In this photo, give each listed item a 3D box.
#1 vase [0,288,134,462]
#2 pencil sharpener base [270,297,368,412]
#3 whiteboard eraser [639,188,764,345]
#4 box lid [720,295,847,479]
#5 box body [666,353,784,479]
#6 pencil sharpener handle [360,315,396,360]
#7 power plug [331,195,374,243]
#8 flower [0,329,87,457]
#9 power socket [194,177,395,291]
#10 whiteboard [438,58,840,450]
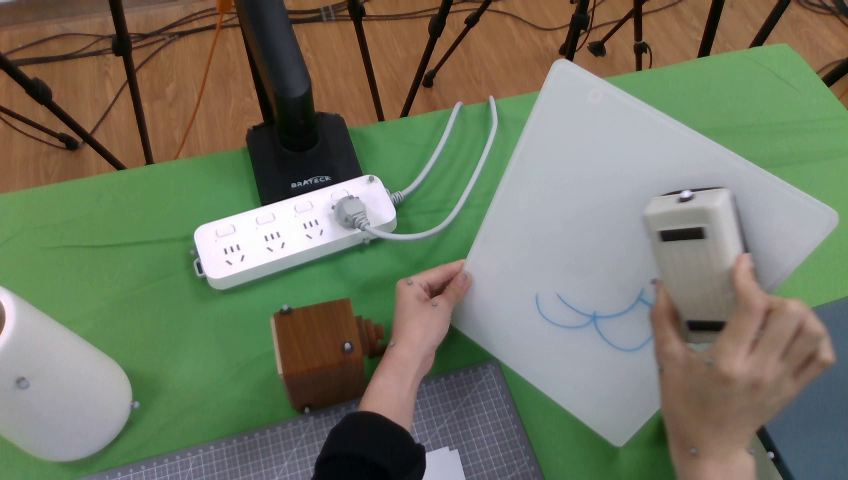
[{"bbox_3d":[-0.309,0.109,0.477,0.098,0.201,0.097,1,59,-2],"label":"vase"},{"bbox_3d":[-0.091,0.106,0.551,0.077,0.108,0.061,-11,60,-12],"label":"pencil sharpener base"},{"bbox_3d":[0.196,0.019,0.425,0.042,0.055,0.113,-39,112,-42],"label":"whiteboard eraser"},{"bbox_3d":[0.401,0.195,0.417,0.264,0.015,0.367,-14,61,-13],"label":"box lid"},{"bbox_3d":[0.396,0.236,0.479,0.254,0.161,0.360,-14,61,-13],"label":"box body"},{"bbox_3d":[-0.041,0.090,0.551,0.031,0.068,0.035,-11,59,-11],"label":"pencil sharpener handle"},{"bbox_3d":[-0.077,-0.015,0.640,0.035,0.053,0.072,-10,62,-10],"label":"power plug"},{"bbox_3d":[-0.303,0.050,0.417,0.038,0.365,0.043,-25,45,-26],"label":"flower"},{"bbox_3d":[-0.137,-0.009,0.659,0.227,0.033,0.071,-19,63,-16],"label":"power socket"},{"bbox_3d":[0.178,0.005,0.553,0.216,0.307,0.144,36,44,17],"label":"whiteboard"}]
